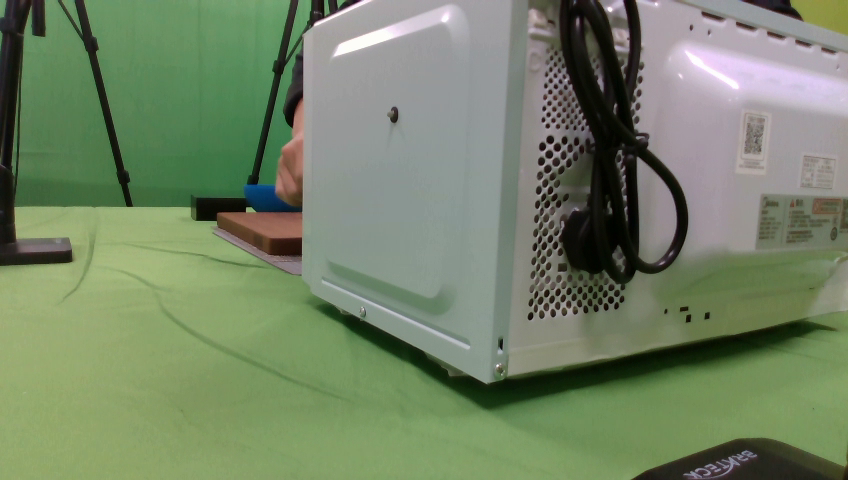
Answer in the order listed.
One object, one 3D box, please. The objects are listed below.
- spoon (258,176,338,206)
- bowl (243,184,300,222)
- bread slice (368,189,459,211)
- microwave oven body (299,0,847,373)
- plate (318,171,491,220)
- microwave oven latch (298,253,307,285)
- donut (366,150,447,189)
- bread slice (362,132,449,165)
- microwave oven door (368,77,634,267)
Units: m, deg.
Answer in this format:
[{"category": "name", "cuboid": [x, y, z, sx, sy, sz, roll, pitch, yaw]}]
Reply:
[{"category": "spoon", "cuboid": [-0.279, -0.112, 1.357, 0.194, 0.021, 0.041, -27, 19, -27]}, {"category": "bowl", "cuboid": [-0.322, -0.081, 1.334, 0.151, 0.077, 0.151, 3, 7, 0]}, {"category": "bread slice", "cuboid": [-0.012, -0.049, 0.726, 0.105, 0.019, 0.131, 0, 8, 5]}, {"category": "microwave oven body", "cuboid": [0.151, -0.055, 0.543, 0.444, 0.260, 0.324, -2, 7, -33]}, {"category": "plate", "cuboid": [-0.023, -0.055, 0.730, 0.208, 0.039, 0.207, 1, 12, 0]}, {"category": "microwave oven latch", "cuboid": [-0.081, 0.027, 0.582, 0.079, 0.029, 0.030, -1, 7, -32]}, {"category": "donut", "cuboid": [-0.021, -0.084, 0.731, 0.099, 0.048, 0.099, -2, 8, 1]}, {"category": "bread slice", "cuboid": [-0.019, -0.110, 0.717, 0.107, 0.018, 0.134, 2, 18, -4]}, {"category": "microwave oven door", "cuboid": [0.094, -0.099, 0.832, 0.355, 0.243, 0.039, 5, 7, 18]}]
